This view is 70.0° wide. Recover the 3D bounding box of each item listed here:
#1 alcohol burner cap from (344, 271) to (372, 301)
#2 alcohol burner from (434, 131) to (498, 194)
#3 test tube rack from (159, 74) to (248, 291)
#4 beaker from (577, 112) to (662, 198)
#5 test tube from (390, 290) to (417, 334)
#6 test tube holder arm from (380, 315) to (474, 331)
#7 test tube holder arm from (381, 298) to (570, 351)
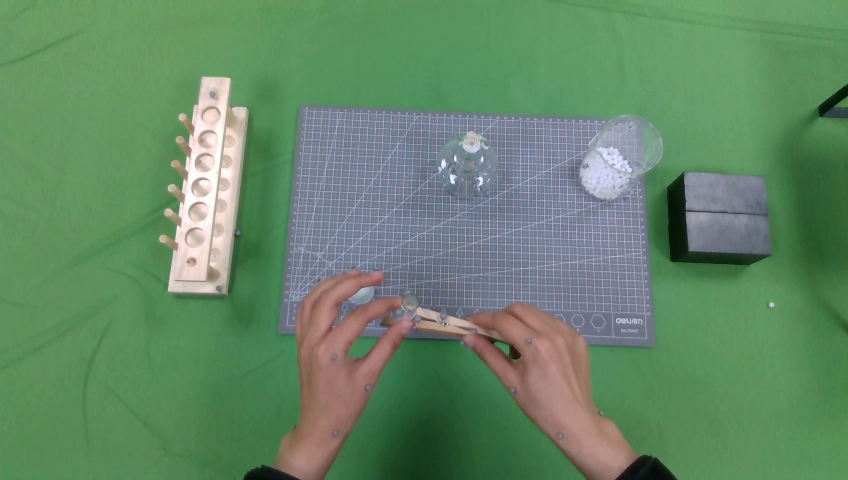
[{"bbox_3d":[-0.079,0.052,0.711,0.034,0.048,0.033,1,75,-3],"label":"alcohol burner cap"},{"bbox_3d":[0.051,-0.099,0.719,0.078,0.119,0.077,0,75,0],"label":"alcohol burner"},{"bbox_3d":[-0.264,-0.067,0.715,0.067,0.085,0.241,2,75,-1],"label":"test tube rack"},{"bbox_3d":[0.229,-0.098,0.733,0.084,0.101,0.073,1,74,-1],"label":"beaker"},{"bbox_3d":[-0.020,0.070,0.567,0.017,0.151,0.017,2,73,-6],"label":"test tube"},{"bbox_3d":[0.003,0.077,0.561,0.088,0.015,0.010,4,79,-2],"label":"test tube holder arm"},{"bbox_3d":[0.048,0.079,0.562,0.178,0.015,0.013,12,80,0],"label":"test tube holder arm"}]
